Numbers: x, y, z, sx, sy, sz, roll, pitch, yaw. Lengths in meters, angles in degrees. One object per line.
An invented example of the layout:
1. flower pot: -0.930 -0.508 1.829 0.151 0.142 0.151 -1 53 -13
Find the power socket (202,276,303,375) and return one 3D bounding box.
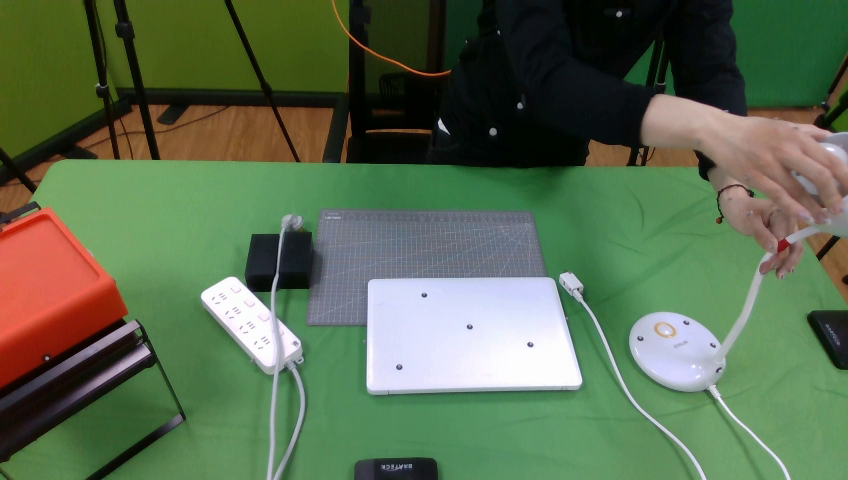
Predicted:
1. power socket: -0.296 0.142 1.034 0.072 0.033 0.225 -34 58 -31

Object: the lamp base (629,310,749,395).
1. lamp base: 0.447 0.143 0.984 0.161 0.181 0.178 -24 55 -24

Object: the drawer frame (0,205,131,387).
1. drawer frame: -0.540 0.076 0.795 0.200 0.083 0.213 36 54 26

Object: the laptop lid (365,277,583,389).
1. laptop lid: 0.077 0.152 1.046 0.357 0.013 0.240 1 45 -3

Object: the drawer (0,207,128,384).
1. drawer: -0.540 0.074 0.799 0.193 0.073 0.211 37 55 27

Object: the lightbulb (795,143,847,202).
1. lightbulb: 0.486 -0.069 0.709 0.108 0.059 0.059 35 47 -11

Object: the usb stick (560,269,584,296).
1. usb stick: 0.274 0.077 1.142 0.027 0.021 0.059 -11 39 -14

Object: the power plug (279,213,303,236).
1. power plug: -0.264 -0.022 1.184 0.035 0.053 0.072 2 49 32

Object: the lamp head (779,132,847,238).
1. lamp head: 0.505 -0.049 0.721 0.123 0.112 0.112 35 41 -24

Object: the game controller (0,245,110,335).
1. game controller: -0.511 0.062 0.830 0.097 0.052 0.154 -30 58 -31

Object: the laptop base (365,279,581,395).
1. laptop base: 0.077 0.162 1.053 0.355 0.023 0.234 0 44 -4
